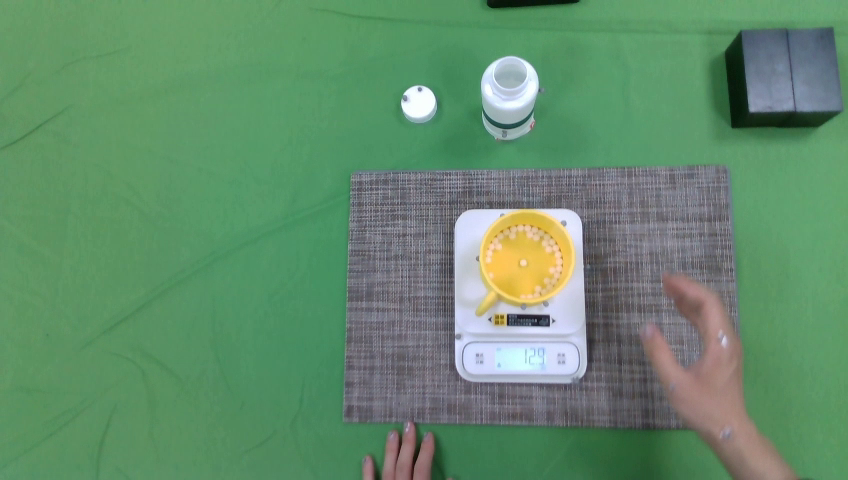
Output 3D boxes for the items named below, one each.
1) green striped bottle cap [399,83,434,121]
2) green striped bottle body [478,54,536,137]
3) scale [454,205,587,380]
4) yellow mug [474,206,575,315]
[{"bbox_3d":[-0.009,-0.173,0.759,0.044,0.020,0.044,0,84,5],"label":"green striped bottle cap"},{"bbox_3d":[0.094,-0.167,0.694,0.063,0.120,0.063,-1,80,6],"label":"green striped bottle body"},{"bbox_3d":[0.109,0.059,0.696,0.148,0.032,0.200,-1,81,6],"label":"scale"},{"bbox_3d":[0.098,0.031,0.653,0.099,0.064,0.131,40,87,10],"label":"yellow mug"}]
